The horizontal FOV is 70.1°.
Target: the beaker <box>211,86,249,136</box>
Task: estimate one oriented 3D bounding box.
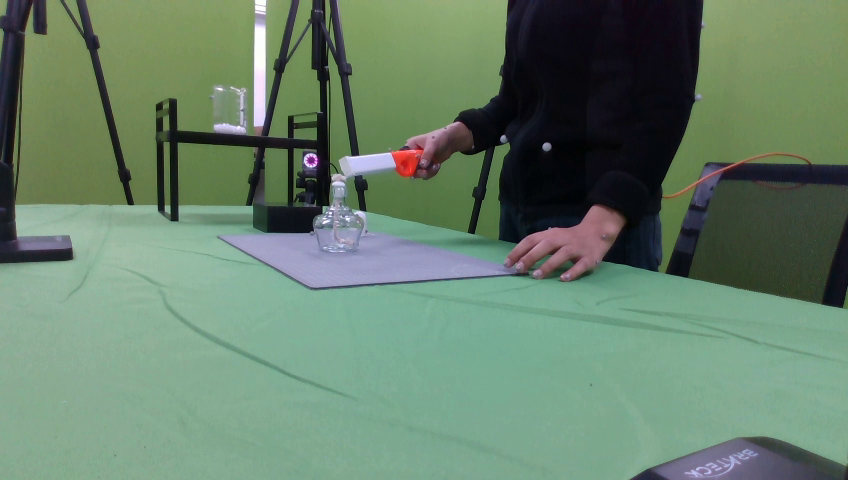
[{"bbox_3d":[-0.413,-0.274,1.297,0.074,0.100,0.083,-5,11,-44],"label":"beaker"}]

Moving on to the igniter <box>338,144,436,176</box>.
[{"bbox_3d":[-0.053,-0.136,1.040,0.025,0.057,0.278,-23,-2,31],"label":"igniter"}]

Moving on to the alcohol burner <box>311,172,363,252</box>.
[{"bbox_3d":[-0.129,-0.042,0.906,0.078,0.119,0.078,2,5,0],"label":"alcohol burner"}]

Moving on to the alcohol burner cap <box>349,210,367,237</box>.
[{"bbox_3d":[-0.118,-0.030,1.095,0.034,0.048,0.034,2,8,0],"label":"alcohol burner cap"}]
